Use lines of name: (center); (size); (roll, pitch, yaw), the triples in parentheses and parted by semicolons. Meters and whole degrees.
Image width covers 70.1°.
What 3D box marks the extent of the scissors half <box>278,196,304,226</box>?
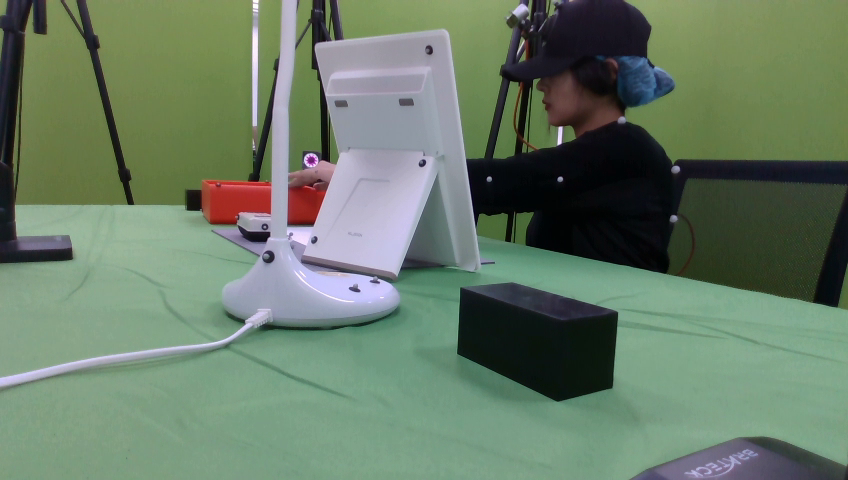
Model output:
scissors half: (-0.297, -0.061, 1.344); (0.013, 0.040, 0.175); (2, 22, 5)

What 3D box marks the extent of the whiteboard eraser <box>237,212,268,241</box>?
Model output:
whiteboard eraser: (-0.272, -0.023, 0.998); (0.056, 0.042, 0.112); (-3, 9, -26)

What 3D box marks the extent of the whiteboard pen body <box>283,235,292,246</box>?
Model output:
whiteboard pen body: (-0.206, 0.005, 0.872); (0.017, 0.017, 0.140); (2, 4, -6)

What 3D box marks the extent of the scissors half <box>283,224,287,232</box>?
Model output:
scissors half: (-0.298, -0.051, 1.349); (0.013, 0.040, 0.175); (9, 39, 3)

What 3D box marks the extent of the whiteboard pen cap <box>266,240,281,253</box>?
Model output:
whiteboard pen cap: (-0.202, 0.009, 0.813); (0.018, 0.018, 0.033); (1, 3, -8)

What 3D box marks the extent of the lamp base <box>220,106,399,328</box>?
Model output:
lamp base: (-0.102, -0.023, 0.531); (0.160, 0.180, 0.179); (4, 10, 10)

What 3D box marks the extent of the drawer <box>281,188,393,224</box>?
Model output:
drawer: (-0.200, -0.081, 1.370); (0.213, 0.073, 0.193); (0, 8, -24)

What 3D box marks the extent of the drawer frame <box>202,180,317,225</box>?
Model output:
drawer frame: (-0.356, -0.084, 1.300); (0.214, 0.082, 0.200); (-2, 9, -25)

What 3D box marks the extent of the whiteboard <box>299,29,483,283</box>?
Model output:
whiteboard: (-0.074, -0.082, 0.742); (0.216, 0.305, 0.144); (9, 29, 38)
